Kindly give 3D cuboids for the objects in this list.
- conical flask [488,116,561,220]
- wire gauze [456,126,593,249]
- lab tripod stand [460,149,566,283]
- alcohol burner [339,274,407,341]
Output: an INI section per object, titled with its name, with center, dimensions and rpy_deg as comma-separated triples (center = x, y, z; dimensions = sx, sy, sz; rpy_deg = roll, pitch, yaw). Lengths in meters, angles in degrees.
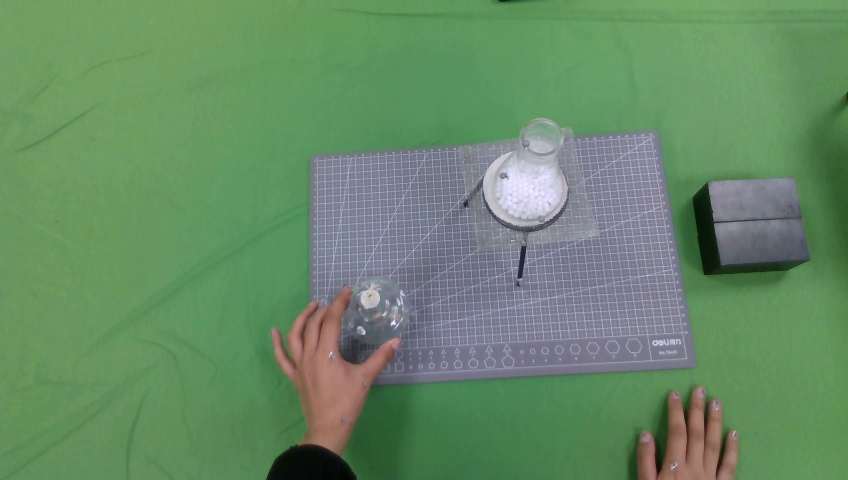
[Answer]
[conical flask]
center = 0.100, -0.072, 0.568
dimensions = 0.075, 0.122, 0.075
rpy_deg = -1, 73, 2
[wire gauze]
center = 0.103, -0.054, 0.626
dimensions = 0.125, 0.011, 0.121
rpy_deg = -8, 76, -2
[lab tripod stand]
center = 0.108, -0.039, 0.689
dimensions = 0.148, 0.132, 0.147
rpy_deg = -1, 72, 3
[alcohol burner]
center = -0.059, 0.072, 0.677
dimensions = 0.078, 0.120, 0.077
rpy_deg = 0, 73, 1
